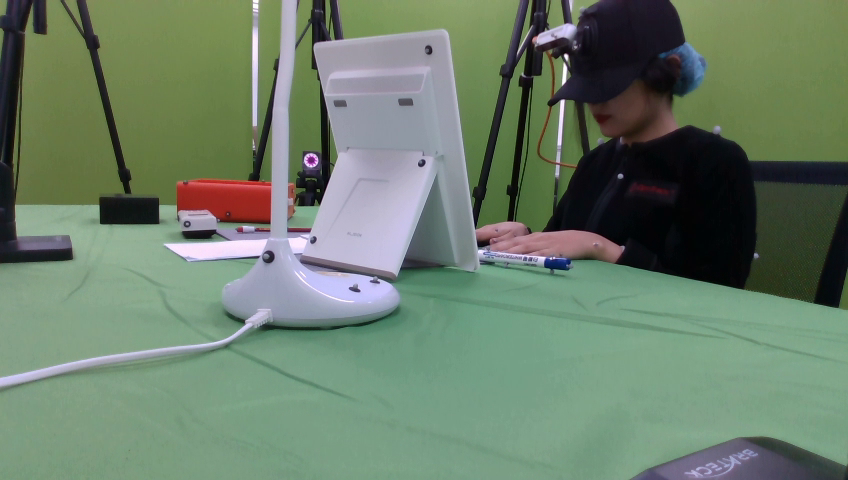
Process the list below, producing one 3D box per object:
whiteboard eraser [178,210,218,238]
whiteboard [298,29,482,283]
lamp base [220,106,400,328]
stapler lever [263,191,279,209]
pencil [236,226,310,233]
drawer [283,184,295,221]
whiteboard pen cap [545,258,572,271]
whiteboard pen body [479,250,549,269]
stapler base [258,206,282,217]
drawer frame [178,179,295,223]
[{"bbox_3d":[-0.380,-0.027,1.014,0.056,0.042,0.112,0,8,-25],"label":"whiteboard eraser"},{"bbox_3d":[-0.075,-0.082,0.742,0.216,0.305,0.144,9,29,37],"label":"whiteboard"},{"bbox_3d":[-0.101,-0.023,0.531,0.160,0.180,0.179,4,10,10],"label":"lamp base"},{"bbox_3d":[-0.329,-0.085,1.306,0.027,0.040,0.118,9,2,-9],"label":"stapler lever"},{"bbox_3d":[-0.239,-0.017,1.093,0.195,0.012,0.012,1,7,-27],"label":"pencil"},{"bbox_3d":[-0.394,-0.086,1.317,0.212,0.073,0.194,1,8,-7],"label":"drawer"},{"bbox_3d":[0.175,0.032,0.790,0.033,0.018,0.018,4,7,37],"label":"whiteboard pen cap"},{"bbox_3d":[0.130,0.028,0.827,0.140,0.017,0.017,7,9,38],"label":"whiteboard pen body"},{"bbox_3d":[-0.331,-0.064,1.306,0.041,0.024,0.130,9,-2,-9],"label":"stapler base"},{"bbox_3d":[-0.397,-0.088,1.315,0.214,0.082,0.201,1,8,-7],"label":"drawer frame"}]
